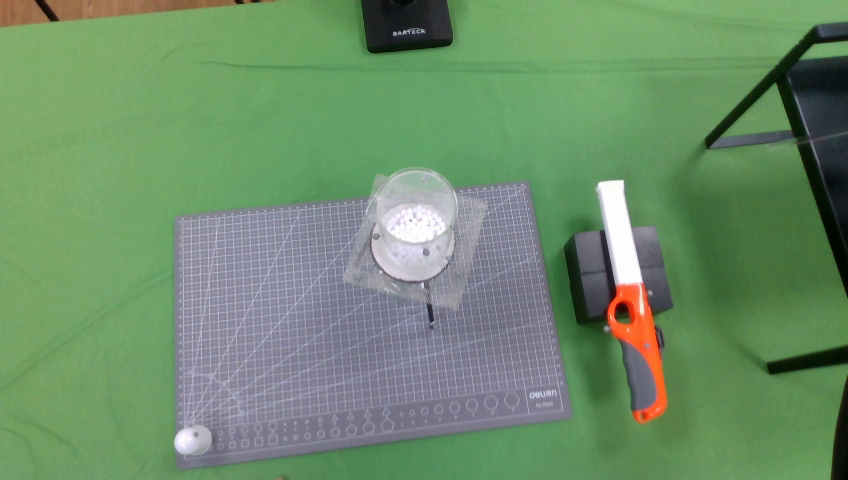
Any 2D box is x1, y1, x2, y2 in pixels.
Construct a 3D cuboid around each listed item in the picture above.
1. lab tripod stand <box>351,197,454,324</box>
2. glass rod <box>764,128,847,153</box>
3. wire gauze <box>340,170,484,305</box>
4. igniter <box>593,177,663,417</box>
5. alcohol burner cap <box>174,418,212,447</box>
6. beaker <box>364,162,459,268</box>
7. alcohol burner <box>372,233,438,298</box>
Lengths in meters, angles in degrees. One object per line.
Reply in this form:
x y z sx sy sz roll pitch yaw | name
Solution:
-0.014 0.013 0.684 0.148 0.132 0.147 1 71 -2 | lab tripod stand
0.427 -0.108 0.566 0.199 0.008 0.008 -13 73 16 | glass rod
-0.010 -0.004 0.621 0.121 0.011 0.124 16 70 0 | wire gauze
0.231 0.058 0.691 0.057 0.025 0.274 -4 73 -1 | igniter
-0.256 0.211 0.663 0.034 0.048 0.033 1 73 -3 | alcohol burner cap
-0.012 -0.018 0.574 0.084 0.101 0.073 -6 72 -3 | beaker
-0.022 0.025 0.690 0.078 0.119 0.077 0 75 -1 | alcohol burner
